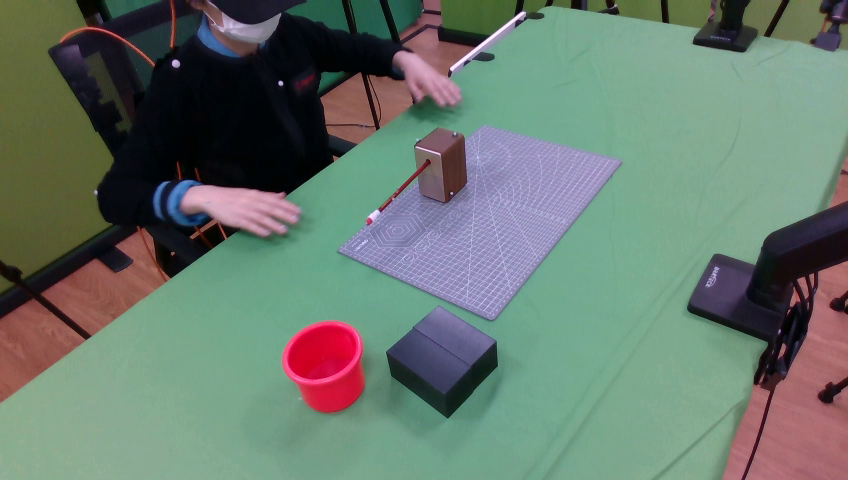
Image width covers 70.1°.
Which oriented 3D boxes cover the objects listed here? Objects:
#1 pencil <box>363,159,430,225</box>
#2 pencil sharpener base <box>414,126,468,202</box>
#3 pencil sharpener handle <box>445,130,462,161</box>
[{"bbox_3d":[-0.033,-0.088,0.978,0.012,0.012,0.194,24,57,32],"label":"pencil"},{"bbox_3d":[0.032,-0.132,1.047,0.061,0.107,0.077,21,48,30],"label":"pencil sharpener base"},{"bbox_3d":[0.057,-0.172,1.071,0.036,0.068,0.031,31,52,19],"label":"pencil sharpener handle"}]
